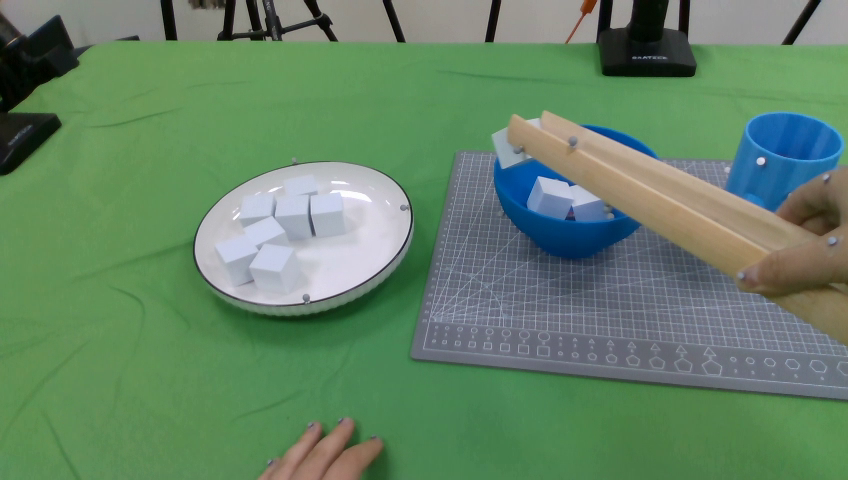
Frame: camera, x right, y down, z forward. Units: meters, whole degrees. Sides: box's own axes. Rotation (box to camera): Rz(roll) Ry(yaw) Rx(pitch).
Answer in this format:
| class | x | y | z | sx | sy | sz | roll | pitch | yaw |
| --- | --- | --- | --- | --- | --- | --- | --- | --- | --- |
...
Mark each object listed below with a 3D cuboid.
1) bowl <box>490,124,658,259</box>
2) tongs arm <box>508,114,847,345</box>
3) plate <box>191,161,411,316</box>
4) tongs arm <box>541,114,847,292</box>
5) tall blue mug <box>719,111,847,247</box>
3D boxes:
| class | x | y | z | sx | sy | sz | roll | pitch | yaw |
| --- | --- | --- | --- | --- | --- | --- | --- | --- | --- |
| bowl | 0.137 | -0.036 | 0.566 | 0.151 | 0.077 | 0.150 | -3 | 43 | 3 |
| tongs arm | 0.183 | -0.002 | 0.368 | 0.051 | 0.027 | 0.380 | -7 | 32 | -31 |
| plate | -0.115 | -0.002 | 0.587 | 0.209 | 0.038 | 0.207 | -2 | 43 | 2 |
| tongs arm | 0.203 | -0.005 | 0.381 | 0.028 | 0.028 | 0.383 | -6 | 32 | -36 |
| tall blue mug | 0.322 | -0.045 | 0.535 | 0.107 | 0.109 | 0.077 | 12 | 45 | 18 |
